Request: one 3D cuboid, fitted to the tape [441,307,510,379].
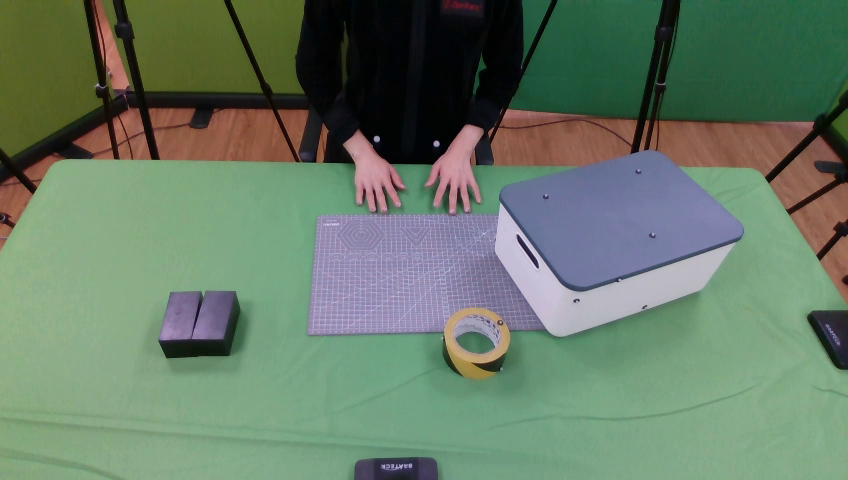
[{"bbox_3d":[0.087,0.172,1.014,0.117,0.053,0.116,2,48,-2],"label":"tape"}]

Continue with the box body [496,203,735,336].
[{"bbox_3d":[0.340,0.003,1.118,0.364,0.161,0.252,-15,49,-18],"label":"box body"}]

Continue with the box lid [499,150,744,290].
[{"bbox_3d":[0.341,-0.049,1.064,0.372,0.015,0.261,-15,48,-18],"label":"box lid"}]
